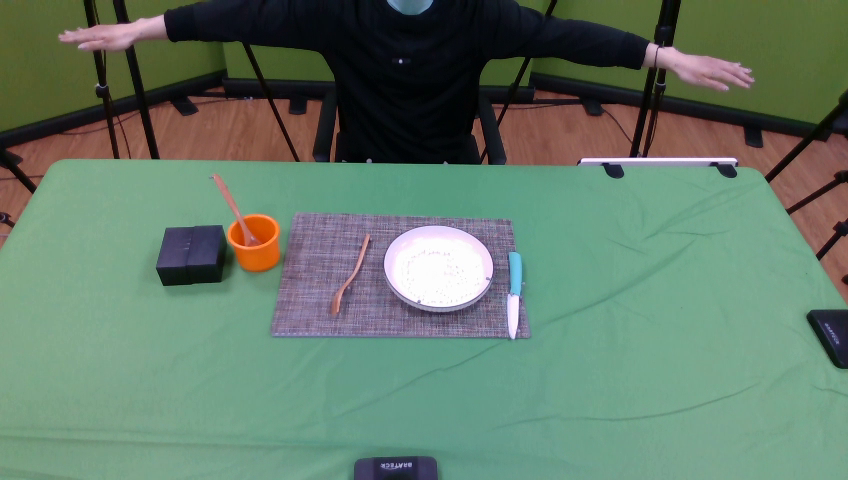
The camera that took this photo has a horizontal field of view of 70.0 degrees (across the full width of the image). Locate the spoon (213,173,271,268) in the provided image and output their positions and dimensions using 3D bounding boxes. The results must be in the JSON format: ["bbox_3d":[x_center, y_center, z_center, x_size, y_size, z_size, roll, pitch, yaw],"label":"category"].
[{"bbox_3d":[-0.338,-0.036,1.119,0.041,0.194,0.021,-28,10,-24],"label":"spoon"}]

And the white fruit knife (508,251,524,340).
[{"bbox_3d":[0.169,0.098,1.113,0.027,0.016,0.206,-13,43,23],"label":"white fruit knife"}]

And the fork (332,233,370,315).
[{"bbox_3d":[-0.133,0.058,1.127,0.019,0.028,0.206,36,43,-13],"label":"fork"}]

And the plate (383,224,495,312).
[{"bbox_3d":[0.026,0.055,1.128,0.209,0.038,0.208,2,46,-2],"label":"plate"}]
